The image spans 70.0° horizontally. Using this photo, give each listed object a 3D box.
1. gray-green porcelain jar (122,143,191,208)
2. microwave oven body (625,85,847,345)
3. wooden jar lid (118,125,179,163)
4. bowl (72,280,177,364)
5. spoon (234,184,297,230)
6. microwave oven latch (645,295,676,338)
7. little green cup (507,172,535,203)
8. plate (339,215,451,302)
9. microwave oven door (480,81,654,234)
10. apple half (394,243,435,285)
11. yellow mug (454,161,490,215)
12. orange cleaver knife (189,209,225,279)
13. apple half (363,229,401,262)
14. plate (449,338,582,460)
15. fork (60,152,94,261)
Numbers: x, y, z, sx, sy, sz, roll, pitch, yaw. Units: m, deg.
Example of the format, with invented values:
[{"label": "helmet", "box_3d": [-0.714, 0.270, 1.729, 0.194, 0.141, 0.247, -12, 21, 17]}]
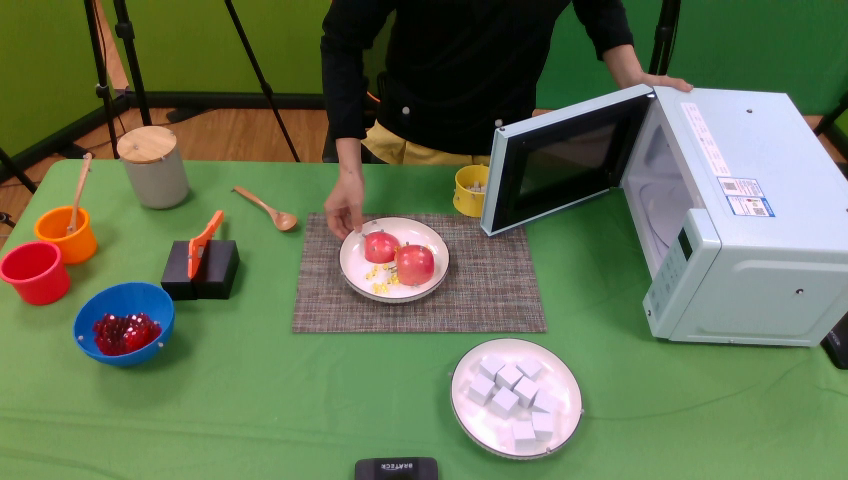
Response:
[{"label": "gray-green porcelain jar", "box_3d": [-0.531, -0.137, 1.214, 0.106, 0.127, 0.105, 2, 47, -2]}, {"label": "microwave oven body", "box_3d": [0.569, -0.054, 1.116, 0.326, 0.261, 0.439, 2, 46, -1]}, {"label": "wooden jar lid", "box_3d": [-0.528, -0.181, 1.167, 0.108, 0.021, 0.107, 3, 48, -4]}, {"label": "bowl", "box_3d": [-0.472, 0.147, 0.982, 0.151, 0.077, 0.150, 2, 46, -2]}, {"label": "spoon", "box_3d": [-0.327, -0.073, 1.239, 0.193, 0.022, 0.041, 34, 70, 25]}, {"label": "microwave oven latch", "box_3d": [0.412, 0.133, 1.061, 0.030, 0.029, 0.078, 3, 46, 0]}, {"label": "little green cup", "box_3d": [0.206, -0.111, 1.302, 0.061, 0.039, 0.061, 2, 48, -2]}, {"label": "plate", "box_3d": [-0.054, 0.038, 1.137, 0.209, 0.038, 0.208, 2, 47, -2]}, {"label": "microwave oven door", "box_3d": [0.281, -0.163, 1.192, 0.356, 0.245, 0.039, -21, 51, -22]}, {"label": "apple half", "box_3d": [-0.016, 0.036, 1.120, 0.075, 0.053, 0.080, 1, 46, -6]}, {"label": "yellow mug", "box_3d": [0.117, -0.119, 1.284, 0.100, 0.064, 0.130, 8, 44, 5]}, {"label": "orange cleaver knife", "box_3d": [-0.400, 0.002, 1.122, 0.012, 0.077, 0.210, 4, 23, -4]}, {"label": "apple half", "box_3d": [-0.080, 0.003, 1.159, 0.081, 0.033, 0.081, 5, 52, -7]}, {"label": "plate", "box_3d": [0.141, 0.251, 0.955, 0.208, 0.039, 0.206, 2, 47, -2]}, {"label": "fork", "box_3d": [-0.638, -0.063, 1.119, 0.028, 0.018, 0.207, 12, 90, 6]}]
